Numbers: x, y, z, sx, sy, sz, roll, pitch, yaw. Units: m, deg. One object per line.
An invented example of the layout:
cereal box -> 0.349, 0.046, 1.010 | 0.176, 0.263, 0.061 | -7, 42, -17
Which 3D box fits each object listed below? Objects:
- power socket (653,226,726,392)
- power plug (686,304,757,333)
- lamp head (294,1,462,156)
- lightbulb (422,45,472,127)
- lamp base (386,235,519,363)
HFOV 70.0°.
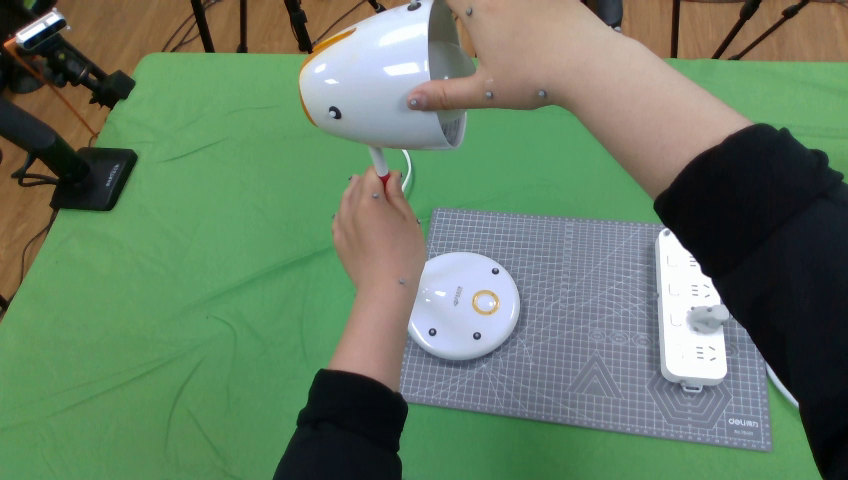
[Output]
power socket -> 0.337, 0.080, 0.777 | 0.072, 0.033, 0.225 | 3, 60, 10
power plug -> 0.359, 0.101, 0.740 | 0.072, 0.053, 0.035 | 14, 64, 13
lamp head -> -0.036, -0.116, 0.479 | 0.122, 0.113, 0.111 | -7, 58, 21
lightbulb -> -0.016, -0.116, 0.464 | 0.107, 0.060, 0.059 | 2, 60, 19
lamp base -> 0.024, 0.051, 0.756 | 0.179, 0.182, 0.159 | -2, 59, 11
